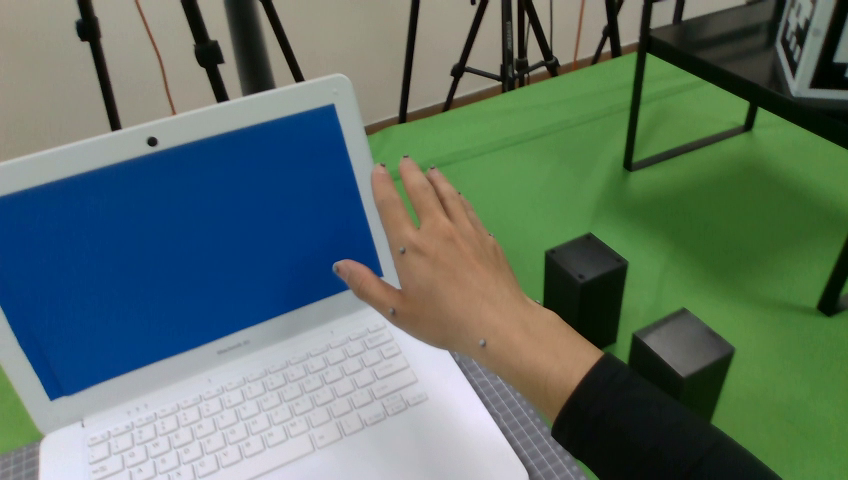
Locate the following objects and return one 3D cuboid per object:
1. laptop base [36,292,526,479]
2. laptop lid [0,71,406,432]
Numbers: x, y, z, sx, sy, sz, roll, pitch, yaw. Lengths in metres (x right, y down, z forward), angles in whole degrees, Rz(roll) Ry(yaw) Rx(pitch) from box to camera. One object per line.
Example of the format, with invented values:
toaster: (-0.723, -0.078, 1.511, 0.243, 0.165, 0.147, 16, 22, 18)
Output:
laptop base: (-0.125, 0.178, 0.497, 0.355, 0.023, 0.232, -20, 44, -17)
laptop lid: (-0.201, 0.008, 0.537, 0.357, 0.243, 0.013, -22, 23, -16)
